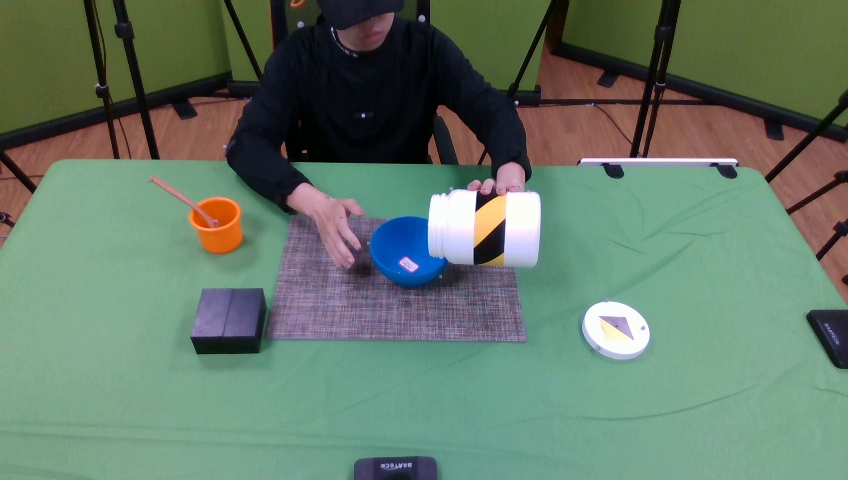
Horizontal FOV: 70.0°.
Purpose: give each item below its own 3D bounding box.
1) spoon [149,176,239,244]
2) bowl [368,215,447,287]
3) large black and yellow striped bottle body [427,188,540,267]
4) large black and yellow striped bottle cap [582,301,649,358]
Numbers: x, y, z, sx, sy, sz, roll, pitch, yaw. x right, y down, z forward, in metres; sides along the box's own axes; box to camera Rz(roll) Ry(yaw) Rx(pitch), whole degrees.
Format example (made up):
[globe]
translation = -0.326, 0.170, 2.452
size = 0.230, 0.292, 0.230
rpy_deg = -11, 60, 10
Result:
[spoon]
translation = -0.427, -0.057, 1.132
size = 0.021, 0.195, 0.041
rpy_deg = -27, 31, 33
[bowl]
translation = -0.028, 0.033, 1.120
size = 0.151, 0.077, 0.150
rpy_deg = 2, 46, -2
[large black and yellow striped bottle body]
translation = 0.101, -0.022, 1.033
size = 0.184, 0.131, 0.130
rpy_deg = 3, 46, 7
[large black and yellow striped bottle cap]
translation = 0.340, 0.157, 1.077
size = 0.115, 0.019, 0.114
rpy_deg = 1, 47, -1
